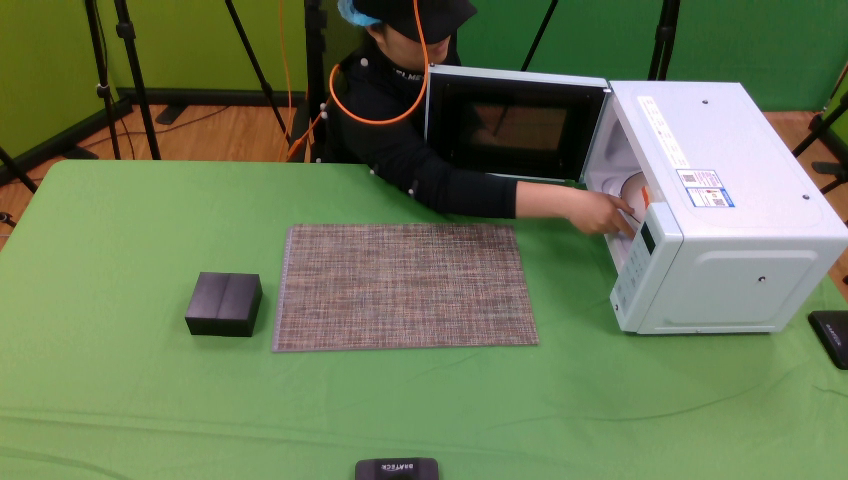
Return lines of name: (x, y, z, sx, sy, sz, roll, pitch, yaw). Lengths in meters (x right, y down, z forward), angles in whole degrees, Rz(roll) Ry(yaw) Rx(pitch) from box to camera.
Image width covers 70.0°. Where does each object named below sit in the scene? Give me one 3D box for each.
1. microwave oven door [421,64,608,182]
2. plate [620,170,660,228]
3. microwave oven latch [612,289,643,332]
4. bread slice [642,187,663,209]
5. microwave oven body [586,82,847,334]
microwave oven door: (0.178, -0.239, 1.266, 0.356, 0.245, 0.039, 5, 46, 1)
plate: (0.489, -0.060, 1.194, 0.209, 0.038, 0.208, 2, 45, -2)
microwave oven latch: (0.357, 0.124, 1.068, 0.030, 0.029, 0.078, 0, 45, -3)
bread slice: (0.493, -0.058, 1.195, 0.105, 0.019, 0.131, 6, 44, 4)
microwave oven body: (0.501, -0.070, 1.132, 0.326, 0.261, 0.438, -1, 45, -3)
